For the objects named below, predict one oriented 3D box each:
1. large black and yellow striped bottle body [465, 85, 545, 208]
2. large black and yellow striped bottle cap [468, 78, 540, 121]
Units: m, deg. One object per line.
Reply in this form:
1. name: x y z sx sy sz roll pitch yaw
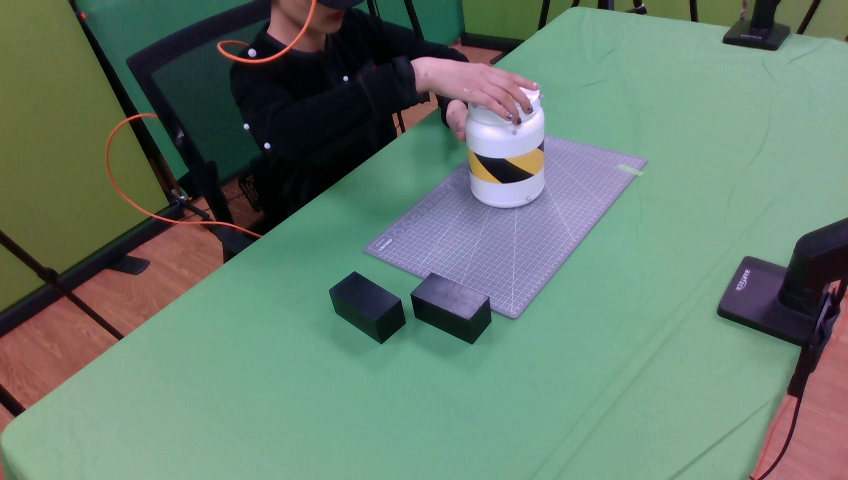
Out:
1. large black and yellow striped bottle body: 0.137 -0.161 1.017 0.131 0.185 0.130 -6 40 5
2. large black and yellow striped bottle cap: 0.127 -0.226 0.964 0.115 0.019 0.114 -4 41 4
